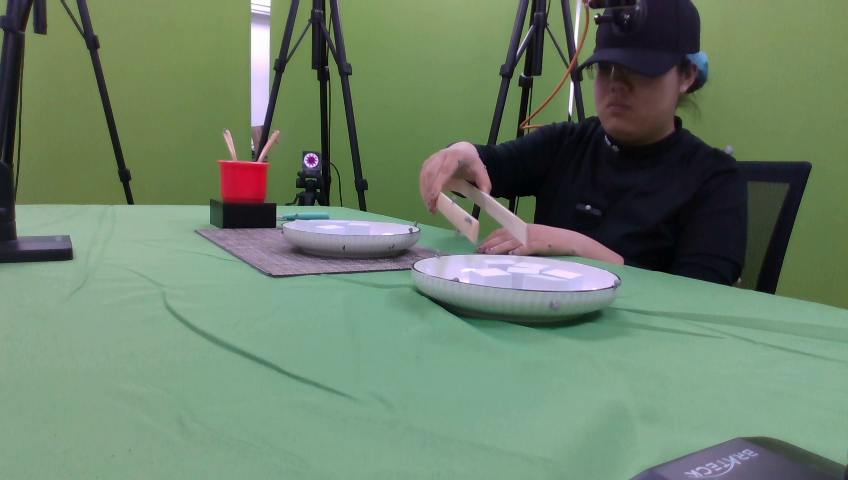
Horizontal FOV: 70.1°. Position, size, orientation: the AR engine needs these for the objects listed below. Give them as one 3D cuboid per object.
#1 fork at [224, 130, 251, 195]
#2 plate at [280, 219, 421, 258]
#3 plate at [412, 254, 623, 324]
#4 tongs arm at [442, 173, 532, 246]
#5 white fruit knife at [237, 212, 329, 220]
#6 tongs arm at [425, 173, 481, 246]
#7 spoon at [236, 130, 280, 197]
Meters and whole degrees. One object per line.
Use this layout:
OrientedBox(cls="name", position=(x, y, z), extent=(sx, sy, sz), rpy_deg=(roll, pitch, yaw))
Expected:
OrientedBox(cls="fork", position=(-0.372, -0.156, 1.193), extent=(0.028, 0.018, 0.206), rpy_deg=(-18, 54, -13))
OrientedBox(cls="plate", position=(-0.108, -0.002, 0.902), extent=(0.208, 0.039, 0.207), rpy_deg=(3, 7, 0))
OrientedBox(cls="plate", position=(0.091, 0.047, 0.609), extent=(0.209, 0.038, 0.209), rpy_deg=(2, 7, 0))
OrientedBox(cls="tongs arm", position=(0.078, -0.052, 0.835), extent=(0.028, 0.028, 0.386), rpy_deg=(-4, 15, -10))
OrientedBox(cls="white fruit knife", position=(-0.304, -0.050, 1.328), extent=(0.208, 0.016, 0.027), rpy_deg=(-3, -19, -29))
OrientedBox(cls="tongs arm", position=(0.043, -0.053, 0.829), extent=(0.051, 0.026, 0.383), rpy_deg=(-1, 15, -11))
OrientedBox(cls="spoon", position=(-0.321, -0.154, 1.192), extent=(0.041, 0.193, 0.022), rpy_deg=(0, -37, 19))
